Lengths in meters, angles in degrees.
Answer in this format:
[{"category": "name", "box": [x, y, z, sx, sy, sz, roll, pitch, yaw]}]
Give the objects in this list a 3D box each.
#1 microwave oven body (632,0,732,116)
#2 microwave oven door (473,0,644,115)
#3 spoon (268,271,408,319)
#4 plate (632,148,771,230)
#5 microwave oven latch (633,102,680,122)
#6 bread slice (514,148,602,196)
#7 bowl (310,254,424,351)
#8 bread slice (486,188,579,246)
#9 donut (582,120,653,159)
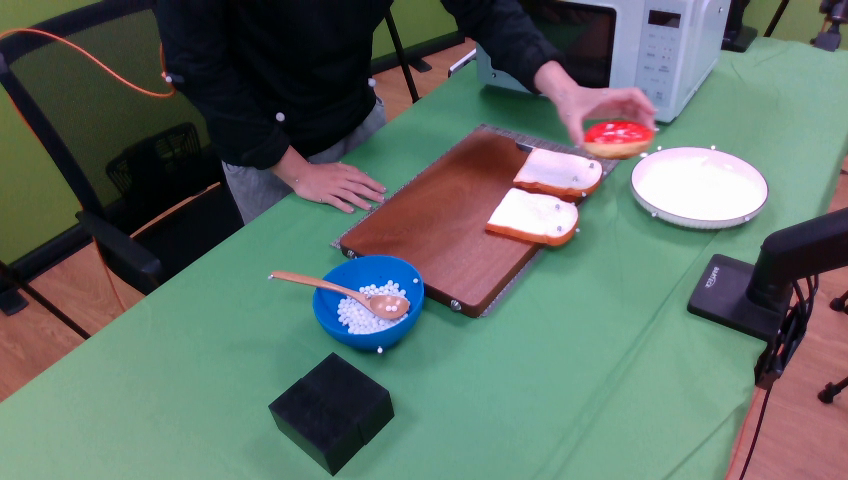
[{"category": "microwave oven body", "box": [0.377, -0.463, 1.267, 0.438, 0.261, 0.327, 21, 49, 30]}, {"category": "microwave oven door", "box": [0.257, -0.396, 1.199, 0.353, 0.245, 0.039, 21, 48, 29]}, {"category": "spoon", "box": [-0.116, 0.069, 0.813, 0.194, 0.021, 0.041, 18, 40, 1]}, {"category": "plate", "box": [0.447, -0.081, 0.988, 0.207, 0.039, 0.206, -4, 40, 4]}, {"category": "microwave oven latch", "box": [0.444, -0.249, 1.158, 0.078, 0.029, 0.030, 22, 49, 30]}, {"category": "bread slice", "box": [0.233, -0.114, 1.027, 0.133, 0.018, 0.107, 13, 45, 20]}, {"category": "bowl", "box": [-0.071, 0.098, 0.821, 0.151, 0.077, 0.150, -4, 40, 4]}, {"category": "bread slice", "box": [0.176, -0.037, 0.947, 0.131, 0.019, 0.105, 15, 47, 24]}, {"category": "donut", "box": [0.280, -0.146, 0.878, 0.099, 0.048, 0.098, -6, 23, 3]}]
